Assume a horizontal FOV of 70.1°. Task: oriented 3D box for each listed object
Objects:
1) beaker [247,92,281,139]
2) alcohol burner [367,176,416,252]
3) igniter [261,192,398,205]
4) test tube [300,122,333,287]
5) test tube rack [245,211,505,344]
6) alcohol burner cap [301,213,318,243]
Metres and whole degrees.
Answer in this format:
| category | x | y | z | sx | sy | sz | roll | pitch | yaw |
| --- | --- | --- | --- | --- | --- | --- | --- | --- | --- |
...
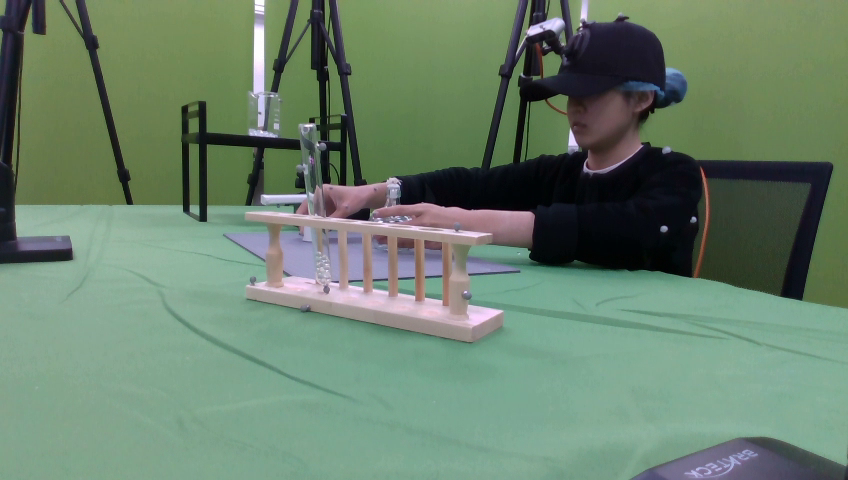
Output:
| category | x | y | z | sx | sy | sz | roll | pitch | yaw |
| --- | --- | --- | --- | --- | --- | --- | --- | --- | --- |
| beaker | -0.361 | -0.280 | 1.359 | 0.074 | 0.100 | 0.084 | 4 | 8 | 8 |
| alcohol burner | -0.049 | -0.041 | 0.947 | 0.078 | 0.119 | 0.078 | 3 | 5 | 0 |
| igniter | -0.185 | -0.083 | 1.217 | 0.278 | 0.025 | 0.057 | -2 | 12 | -25 |
| test tube | -0.096 | -0.030 | 0.543 | 0.017 | 0.150 | 0.017 | -3 | 14 | 1 |
| test tube rack | -0.049 | 0.025 | 0.547 | 0.241 | 0.085 | 0.067 | 7 | 8 | 29 |
| alcohol burner cap | -0.185 | -0.020 | 0.992 | 0.034 | 0.048 | 0.034 | 3 | 8 | 0 |
